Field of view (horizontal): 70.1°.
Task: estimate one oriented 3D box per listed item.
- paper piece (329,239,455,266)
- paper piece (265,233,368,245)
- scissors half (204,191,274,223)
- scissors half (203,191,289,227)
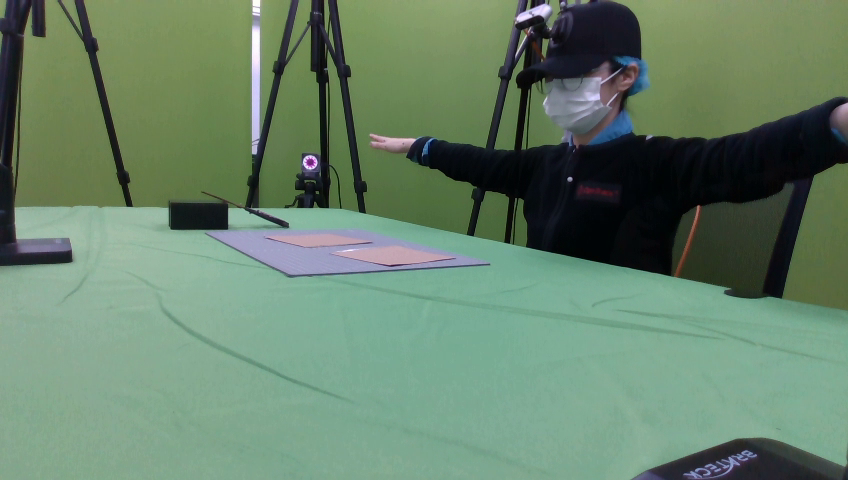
[{"bbox_3d":[-0.047,0.018,0.892,0.137,0.008,0.137,12,16,44],"label":"paper piece"},{"bbox_3d":[-0.180,-0.005,1.032,0.136,0.004,0.135,-3,9,-43],"label":"paper piece"},{"bbox_3d":[-0.359,-0.065,1.218,0.176,0.013,0.040,24,-5,-33],"label":"scissors half"},{"bbox_3d":[-0.351,-0.063,1.200,0.176,0.013,0.040,22,-9,-16],"label":"scissors half"}]
